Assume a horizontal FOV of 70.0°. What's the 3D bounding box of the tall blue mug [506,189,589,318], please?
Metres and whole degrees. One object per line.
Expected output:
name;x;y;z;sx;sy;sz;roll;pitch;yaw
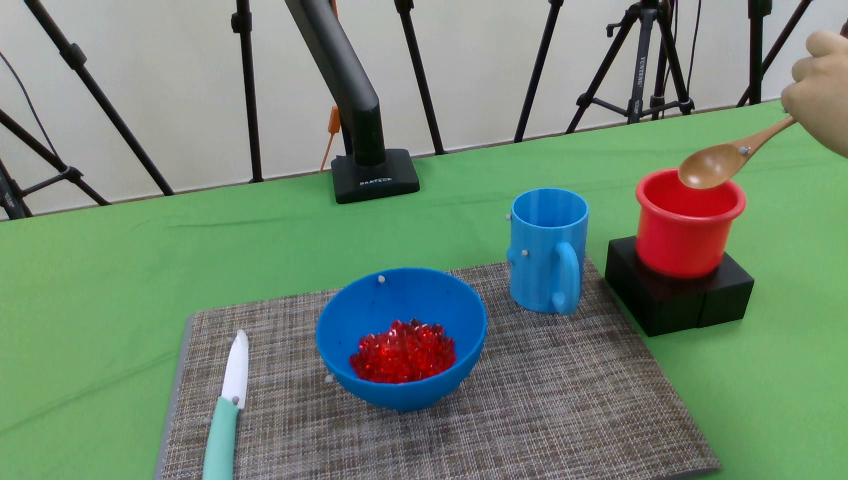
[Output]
tall blue mug;0.136;0.019;0.618;0.078;0.109;0.106;-26;40;-28

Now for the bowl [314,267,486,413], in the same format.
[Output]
bowl;-0.018;0.102;0.548;0.151;0.077;0.150;-3;36;3

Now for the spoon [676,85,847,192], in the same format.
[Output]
spoon;0.306;-0.095;0.506;0.193;0.022;0.041;-33;52;34

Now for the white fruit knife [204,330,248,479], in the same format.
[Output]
white fruit knife;-0.177;0.153;0.554;0.027;0.016;0.205;17;28;-20
